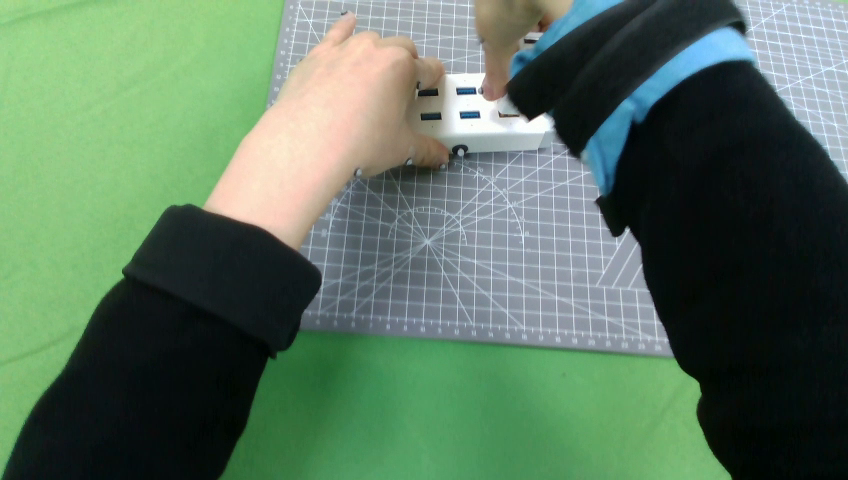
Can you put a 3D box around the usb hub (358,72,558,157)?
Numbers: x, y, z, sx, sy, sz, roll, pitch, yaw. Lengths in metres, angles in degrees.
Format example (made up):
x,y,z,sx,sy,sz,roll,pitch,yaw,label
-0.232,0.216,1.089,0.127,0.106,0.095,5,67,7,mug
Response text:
x,y,z,sx,sy,sz,roll,pitch,yaw,label
0.020,-0.083,0.394,0.125,0.025,0.049,-3,68,-8,usb hub

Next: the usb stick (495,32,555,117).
x,y,z,sx,sy,sz,roll,pitch,yaw,label
0.058,-0.095,0.366,0.021,0.059,0.027,4,65,-12,usb stick
